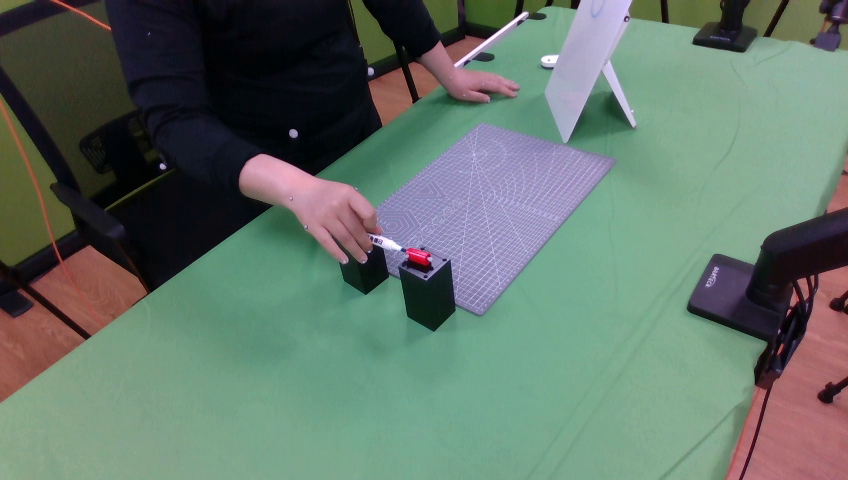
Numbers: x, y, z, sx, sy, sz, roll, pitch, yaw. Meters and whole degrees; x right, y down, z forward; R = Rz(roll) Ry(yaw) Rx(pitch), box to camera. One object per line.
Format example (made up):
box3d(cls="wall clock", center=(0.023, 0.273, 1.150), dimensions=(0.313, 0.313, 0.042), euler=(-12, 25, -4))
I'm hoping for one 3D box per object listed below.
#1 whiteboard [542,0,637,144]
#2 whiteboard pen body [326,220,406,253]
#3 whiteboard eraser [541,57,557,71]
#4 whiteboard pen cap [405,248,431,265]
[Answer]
box3d(cls="whiteboard", center=(0.366, -0.351, 1.160), dimensions=(0.144, 0.305, 0.216), euler=(10, 39, -10))
box3d(cls="whiteboard pen body", center=(-0.080, -0.004, 0.834), dimensions=(0.139, 0.017, 0.017), euler=(19, 47, 30))
box3d(cls="whiteboard eraser", center=(0.323, -0.412, 1.407), dimensions=(0.101, 0.019, 0.041), euler=(1, 41, 11))
box3d(cls="whiteboard pen cap", center=(-0.008, 0.021, 0.794), dimensions=(0.032, 0.017, 0.017), euler=(17, 46, 28))
